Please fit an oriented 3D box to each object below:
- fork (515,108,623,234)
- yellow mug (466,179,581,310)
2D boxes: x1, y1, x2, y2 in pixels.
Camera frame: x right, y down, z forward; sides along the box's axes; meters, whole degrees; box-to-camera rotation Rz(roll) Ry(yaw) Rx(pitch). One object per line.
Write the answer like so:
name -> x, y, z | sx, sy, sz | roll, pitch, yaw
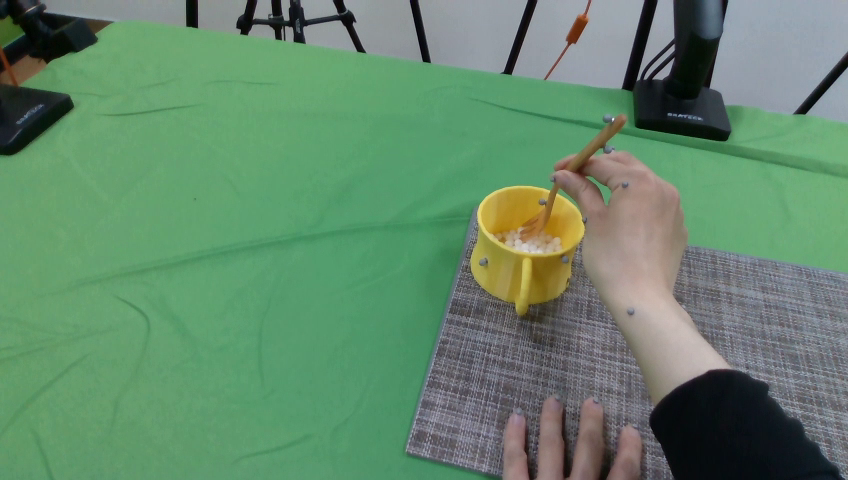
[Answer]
fork -> 0.116, -0.051, 0.517 | 0.018, 0.208, 0.028 | 21, 66, 0
yellow mug -> 0.090, 0.008, 0.566 | 0.100, 0.064, 0.129 | 7, 45, 3
